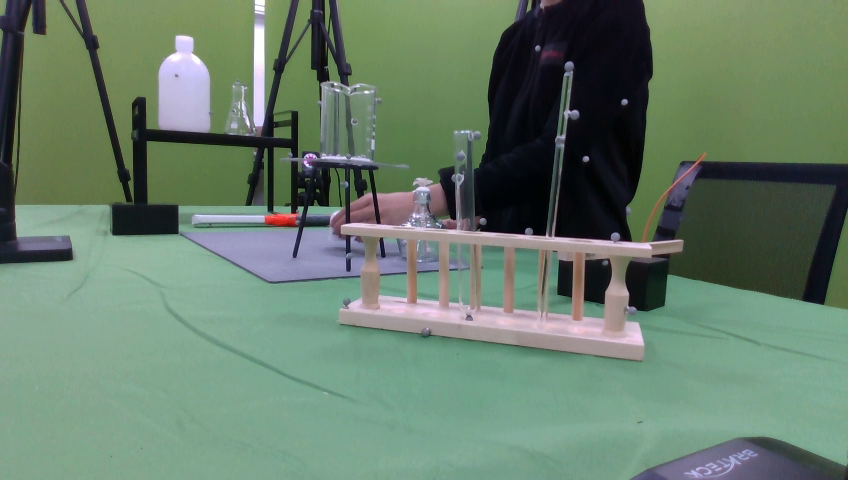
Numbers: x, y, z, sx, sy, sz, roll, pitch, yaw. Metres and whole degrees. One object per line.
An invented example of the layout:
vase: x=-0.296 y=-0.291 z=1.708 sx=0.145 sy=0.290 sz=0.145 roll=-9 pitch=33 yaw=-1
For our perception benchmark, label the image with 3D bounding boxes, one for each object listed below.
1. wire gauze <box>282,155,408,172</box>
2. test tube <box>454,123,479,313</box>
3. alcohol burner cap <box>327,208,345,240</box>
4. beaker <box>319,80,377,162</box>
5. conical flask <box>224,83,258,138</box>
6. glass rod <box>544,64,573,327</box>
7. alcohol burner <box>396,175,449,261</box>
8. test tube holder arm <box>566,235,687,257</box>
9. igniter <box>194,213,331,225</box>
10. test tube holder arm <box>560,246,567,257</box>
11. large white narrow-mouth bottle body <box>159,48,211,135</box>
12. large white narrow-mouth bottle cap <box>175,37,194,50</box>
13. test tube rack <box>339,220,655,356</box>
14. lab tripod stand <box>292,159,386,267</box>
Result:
wire gauze: x=-0.104 y=-0.103 z=0.785 sx=0.126 sy=0.011 sz=0.121 roll=1 pitch=8 yaw=-39
test tube: x=0.034 y=-0.016 z=0.477 sx=0.017 sy=0.150 sz=0.017 roll=-2 pitch=9 yaw=1
alcohol burner cap: x=-0.130 y=-0.026 z=0.932 sx=0.034 sy=0.048 sz=0.034 roll=10 pitch=10 yaw=-1
beaker: x=-0.098 y=-0.150 z=0.777 sx=0.074 sy=0.100 sz=0.084 roll=1 pitch=7 yaw=-7
conical flask: x=-0.422 y=-0.299 z=1.395 sx=0.075 sy=0.122 sz=0.075 roll=2 pitch=7 yaw=0
glass rod: x=0.101 y=-0.028 z=0.453 sx=0.008 sy=0.199 sz=0.008 roll=2 pitch=13 yaw=0
alcohol burner: x=-0.003 y=-0.031 z=0.846 sx=0.078 sy=0.119 sz=0.078 roll=0 pitch=6 yaw=0
test tube holder arm: x=0.215 y=0.006 z=0.630 sx=0.179 sy=0.015 sz=0.013 roll=-3 pitch=9 yaw=-31
igniter: x=-0.306 y=-0.042 z=1.196 sx=0.278 sy=0.025 sz=0.057 roll=-2 pitch=-2 yaw=-31
test tube holder arm: x=0.173 y=0.007 z=0.611 sx=0.088 sy=0.015 sz=0.010 roll=-3 pitch=9 yaw=-30
large white narrow-mouth bottle body: x=-0.503 y=-0.323 z=1.275 sx=0.102 sy=0.194 sz=0.102 roll=2 pitch=7 yaw=0
large white narrow-mouth bottle cap: x=-0.501 y=-0.410 z=1.264 sx=0.038 sy=0.024 sz=0.037 roll=2 pitch=7 yaw=0
test tube rack: x=0.056 y=0.032 z=0.495 sx=0.242 sy=0.085 sz=0.067 roll=4 pitch=7 yaw=15
lab tripod stand: x=-0.105 y=-0.039 z=0.797 sx=0.148 sy=0.131 sz=0.148 roll=2 pitch=5 yaw=0
